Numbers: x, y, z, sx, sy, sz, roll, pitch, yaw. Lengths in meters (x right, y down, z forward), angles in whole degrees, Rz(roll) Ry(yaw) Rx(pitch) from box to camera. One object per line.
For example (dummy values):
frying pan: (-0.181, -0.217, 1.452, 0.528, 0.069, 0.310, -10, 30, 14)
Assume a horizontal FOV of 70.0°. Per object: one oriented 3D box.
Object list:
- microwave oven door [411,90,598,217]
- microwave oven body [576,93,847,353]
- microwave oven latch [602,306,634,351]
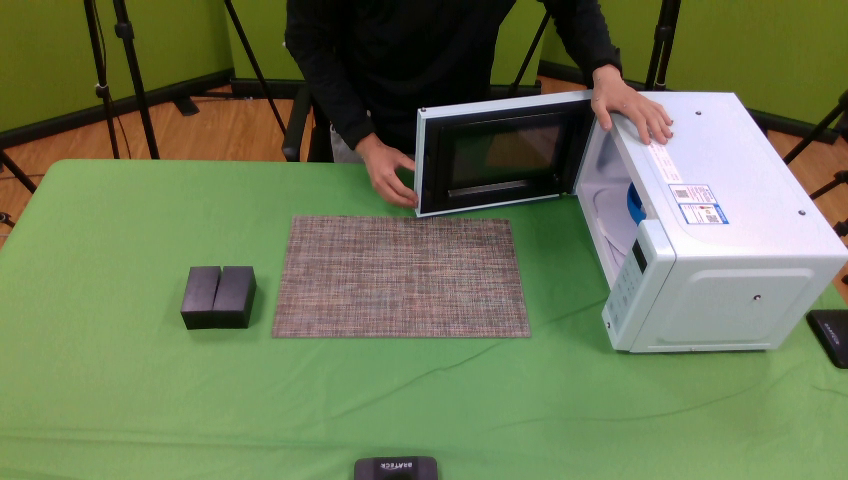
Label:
microwave oven door: (0.154, -0.170, 1.203, 0.356, 0.245, 0.039, -9, 47, -13)
microwave oven body: (0.475, -0.041, 1.109, 0.326, 0.261, 0.438, -1, 45, -4)
microwave oven latch: (0.332, 0.153, 1.044, 0.030, 0.029, 0.078, 0, 45, -4)
